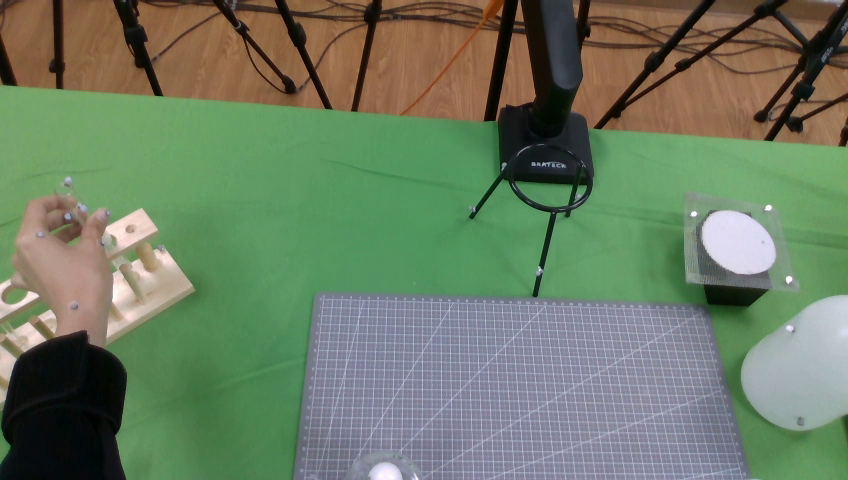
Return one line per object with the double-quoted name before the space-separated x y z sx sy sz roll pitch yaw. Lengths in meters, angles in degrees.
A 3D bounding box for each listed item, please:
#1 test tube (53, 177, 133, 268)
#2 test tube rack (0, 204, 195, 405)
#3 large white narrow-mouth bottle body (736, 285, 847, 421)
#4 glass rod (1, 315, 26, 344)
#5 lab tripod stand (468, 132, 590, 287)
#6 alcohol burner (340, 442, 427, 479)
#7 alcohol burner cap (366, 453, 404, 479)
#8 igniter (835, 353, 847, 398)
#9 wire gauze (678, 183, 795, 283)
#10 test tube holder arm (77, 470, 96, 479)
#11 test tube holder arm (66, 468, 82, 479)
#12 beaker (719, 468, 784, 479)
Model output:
"test tube" -0.312 -0.011 0.579 0.017 0.151 0.017 2 60 -2
"test tube rack" -0.361 0.070 0.595 0.242 0.086 0.066 -35 68 -22
"large white narrow-mouth bottle body" 0.392 0.101 0.580 0.102 0.196 0.101 2 59 -3
"glass rod" -0.391 0.041 0.533 0.008 0.201 0.008 5 50 -5
"lab tripod stand" 0.125 -0.040 0.676 0.148 0.132 0.147 3 60 -5
"alcohol burner" -0.034 0.210 0.522 0.078 0.120 0.077 3 58 -5
"alcohol burner cap" -0.032 0.192 0.491 0.034 0.048 0.033 1 53 -2
"igniter" 0.457 0.245 0.599 0.057 0.025 0.274 13 58 -9
"wire gauze" 0.353 -0.008 0.693 0.121 0.011 0.124 9 59 0
"test tube holder arm" -0.306 0.269 0.467 0.013 0.015 0.177 9 58 11
"test tube holder arm" -0.301 0.231 0.491 0.010 0.015 0.087 9 58 11
"beaker" 0.270 0.249 0.534 0.084 0.101 0.073 7 59 1
